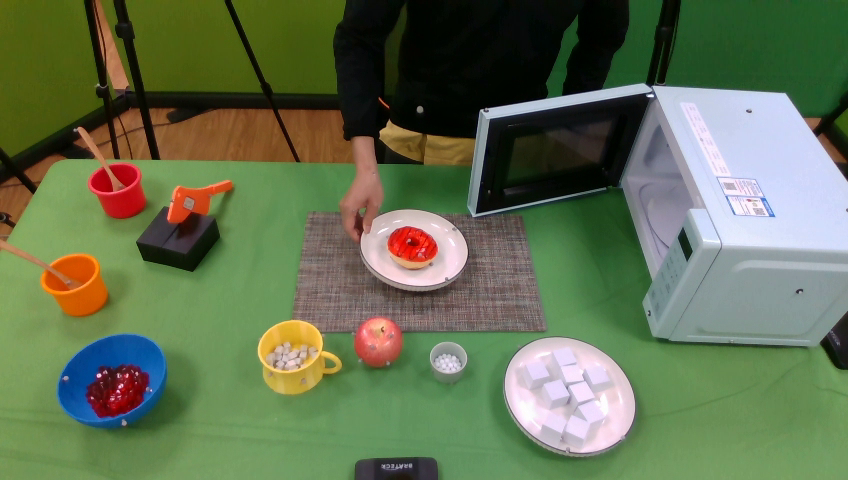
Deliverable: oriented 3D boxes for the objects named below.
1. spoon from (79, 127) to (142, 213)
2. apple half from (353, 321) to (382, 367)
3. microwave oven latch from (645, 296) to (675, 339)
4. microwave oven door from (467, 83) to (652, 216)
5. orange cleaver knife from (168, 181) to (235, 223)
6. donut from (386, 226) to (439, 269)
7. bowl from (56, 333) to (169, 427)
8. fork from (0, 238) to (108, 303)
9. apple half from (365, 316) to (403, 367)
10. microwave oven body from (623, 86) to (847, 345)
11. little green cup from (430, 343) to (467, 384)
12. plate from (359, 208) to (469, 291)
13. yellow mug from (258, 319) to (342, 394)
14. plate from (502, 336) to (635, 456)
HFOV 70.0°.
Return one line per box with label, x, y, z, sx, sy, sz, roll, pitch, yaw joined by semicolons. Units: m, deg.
spoon;-0.624;-0.139;1.203;0.041;0.021;0.194;-33;100;-26
apple half;-0.097;0.177;0.984;0.033;0.081;0.081;-17;49;-25
microwave oven latch;0.412;0.134;1.061;0.030;0.029;0.078;3;45;0
microwave oven door;0.267;-0.181;1.214;0.356;0.245;0.039;-12;49;-15
orange cleaver knife;-0.436;-0.078;1.196;0.012;0.077;0.211;16;15;10
donut;-0.022;0.013;1.136;0.099;0.048;0.098;8;41;-7
bowl;-0.456;0.223;0.912;0.151;0.077;0.150;3;46;-2
fork;-0.633;0.048;1.017;0.208;0.018;0.028;40;43;-27
apple half;-0.063;0.165;1.000;0.053;0.075;0.080;-16;45;-24
microwave oven body;0.567;-0.053;1.118;0.326;0.261;0.439;2;45;-1
little green cup;0.039;0.203;0.994;0.061;0.039;0.061;2;46;-2
plate;-0.020;0.022;1.144;0.209;0.038;0.208;6;44;-5
yellow mug;-0.195;0.188;0.972;0.131;0.064;0.099;9;47;4
plate;0.225;0.248;0.963;0.208;0.039;0.206;2;46;-2
